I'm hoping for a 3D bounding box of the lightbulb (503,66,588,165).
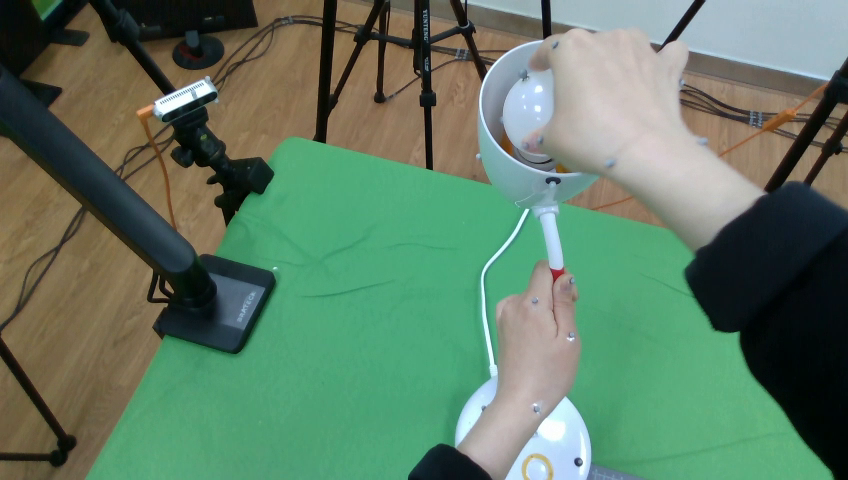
[{"bbox_3d":[0.087,-0.085,0.452,0.059,0.108,0.059,-1,73,2],"label":"lightbulb"}]

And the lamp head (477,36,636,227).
[{"bbox_3d":[0.093,-0.074,0.473,0.112,0.124,0.111,0,65,-1],"label":"lamp head"}]

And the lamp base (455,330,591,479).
[{"bbox_3d":[0.113,0.184,0.655,0.161,0.182,0.177,-21,59,-14],"label":"lamp base"}]
